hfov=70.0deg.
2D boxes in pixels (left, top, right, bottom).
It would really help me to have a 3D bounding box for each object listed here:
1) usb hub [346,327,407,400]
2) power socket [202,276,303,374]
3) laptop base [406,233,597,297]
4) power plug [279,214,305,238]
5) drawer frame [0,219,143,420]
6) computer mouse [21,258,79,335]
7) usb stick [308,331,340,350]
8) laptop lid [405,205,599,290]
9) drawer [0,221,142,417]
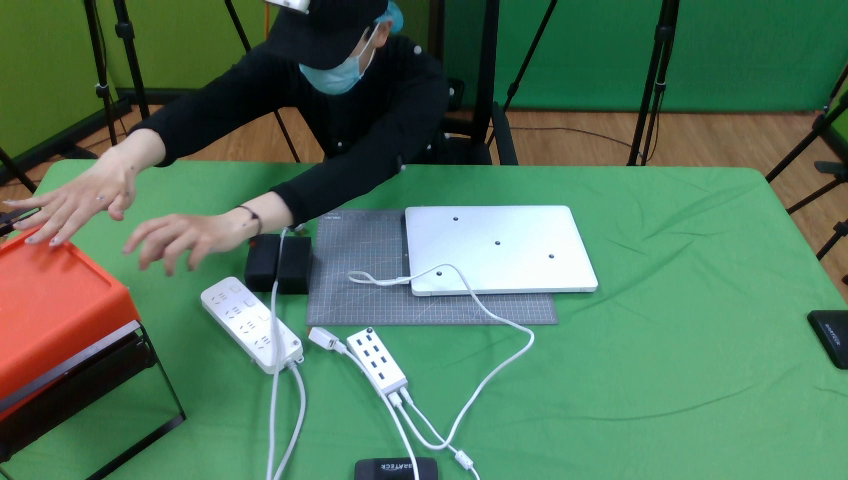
[{"bbox_3d":[-0.078,0.202,0.998,0.049,0.025,0.124,-23,53,-24],"label":"usb hub"},{"bbox_3d":[-0.296,0.141,1.034,0.072,0.033,0.225,-35,58,-31],"label":"power socket"},{"bbox_3d":[0.143,0.018,1.196,0.355,0.023,0.234,-1,43,-6],"label":"laptop base"},{"bbox_3d":[-0.261,-0.021,1.184,0.035,0.053,0.072,11,55,33],"label":"power plug"},{"bbox_3d":[-0.518,0.096,0.777,0.201,0.083,0.213,30,52,22],"label":"drawer frame"},{"bbox_3d":[-0.505,0.073,0.819,0.063,0.041,0.116,-5,58,-19],"label":"computer mouse"},{"bbox_3d":[-0.174,0.167,1.022,0.059,0.021,0.027,10,1,25],"label":"usb stick"},{"bbox_3d":[0.143,0.008,1.189,0.357,0.013,0.240,0,44,-5],"label":"laptop lid"},{"bbox_3d":[-0.517,0.095,0.780,0.193,0.073,0.211,32,53,23],"label":"drawer"}]
